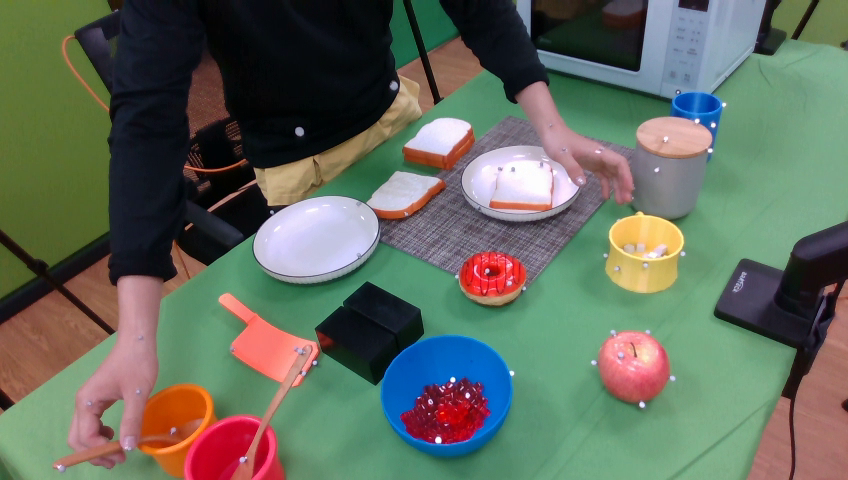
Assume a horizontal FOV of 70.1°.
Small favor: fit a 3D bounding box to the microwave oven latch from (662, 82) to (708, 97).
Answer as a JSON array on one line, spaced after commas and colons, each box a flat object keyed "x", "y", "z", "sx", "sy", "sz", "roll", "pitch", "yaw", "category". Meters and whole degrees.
[{"x": 0.518, "y": -0.298, "z": 1.203, "sx": 0.078, "sy": 0.029, "sz": 0.030, "roll": 28, "pitch": 53, "yaw": 35, "category": "microwave oven latch"}]

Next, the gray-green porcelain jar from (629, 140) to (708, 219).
[{"x": 0.383, "y": -0.104, "z": 0.958, "sx": 0.106, "sy": 0.127, "sz": 0.105, "roll": -4, "pitch": 41, "yaw": 4, "category": "gray-green porcelain jar"}]

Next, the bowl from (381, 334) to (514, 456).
[{"x": 0.029, "y": 0.192, "z": 0.701, "sx": 0.151, "sy": 0.077, "sz": 0.150, "roll": -4, "pitch": 40, "yaw": 4, "category": "bowl"}]

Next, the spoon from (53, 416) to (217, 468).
[{"x": -0.308, "y": 0.219, "z": 0.663, "sx": 0.041, "sy": 0.195, "sz": 0.021, "roll": 31, "pitch": 97, "yaw": 28, "category": "spoon"}]

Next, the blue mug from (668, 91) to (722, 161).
[{"x": 0.474, "y": -0.207, "z": 1.079, "sx": 0.082, "sy": 0.106, "sz": 0.116, "roll": 4, "pitch": 42, "yaw": 13, "category": "blue mug"}]

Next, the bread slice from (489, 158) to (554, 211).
[{"x": 0.172, "y": -0.099, "z": 1.047, "sx": 0.104, "sy": 0.019, "sz": 0.131, "roll": 4, "pitch": 43, "yaw": 12, "category": "bread slice"}]

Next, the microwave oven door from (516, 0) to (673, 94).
[{"x": 0.344, "y": -0.458, "z": 1.256, "sx": 0.353, "sy": 0.245, "sz": 0.039, "roll": 26, "pitch": 52, "yaw": 33, "category": "microwave oven door"}]

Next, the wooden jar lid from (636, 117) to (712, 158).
[{"x": 0.377, "y": -0.151, "z": 0.917, "sx": 0.108, "sy": 0.021, "sz": 0.108, "roll": -2, "pitch": 41, "yaw": 2, "category": "wooden jar lid"}]

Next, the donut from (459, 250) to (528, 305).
[{"x": 0.100, "y": 0.053, "z": 0.872, "sx": 0.099, "sy": 0.048, "sz": 0.098, "roll": -4, "pitch": 41, "yaw": 4, "category": "donut"}]

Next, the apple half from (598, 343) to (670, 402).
[{"x": 0.247, "y": 0.161, "z": 0.710, "sx": 0.081, "sy": 0.075, "sz": 0.053, "roll": 2, "pitch": 47, "yaw": 5, "category": "apple half"}]

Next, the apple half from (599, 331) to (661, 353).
[{"x": 0.249, "y": 0.134, "z": 0.738, "sx": 0.081, "sy": 0.081, "sz": 0.032, "roll": -1, "pitch": 46, "yaw": 7, "category": "apple half"}]

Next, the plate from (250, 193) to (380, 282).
[{"x": -0.174, "y": -0.001, "z": 0.985, "sx": 0.209, "sy": 0.038, "sz": 0.208, "roll": -3, "pitch": 40, "yaw": 3, "category": "plate"}]

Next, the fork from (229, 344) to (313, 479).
[{"x": -0.173, "y": 0.205, "z": 0.662, "sx": 0.028, "sy": 0.019, "sz": 0.207, "roll": 29, "pitch": 94, "yaw": 36, "category": "fork"}]

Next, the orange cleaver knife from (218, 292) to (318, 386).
[{"x": -0.235, "y": 0.136, "z": 0.850, "sx": 0.209, "sy": 0.012, "sz": 0.077, "roll": 25, "pitch": 56, "yaw": 30, "category": "orange cleaver knife"}]

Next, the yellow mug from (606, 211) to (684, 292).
[{"x": 0.318, "y": 0.008, "z": 0.883, "sx": 0.100, "sy": 0.064, "sz": 0.130, "roll": 0, "pitch": 41, "yaw": 8, "category": "yellow mug"}]

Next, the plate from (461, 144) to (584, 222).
[{"x": 0.167, "y": -0.095, "z": 1.040, "sx": 0.207, "sy": 0.039, "sz": 0.206, "roll": -4, "pitch": 41, "yaw": 4, "category": "plate"}]

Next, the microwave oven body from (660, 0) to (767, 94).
[{"x": 0.473, "y": -0.516, "z": 1.313, "sx": 0.438, "sy": 0.261, "sz": 0.327, "roll": 26, "pitch": 51, "yaw": 34, "category": "microwave oven body"}]

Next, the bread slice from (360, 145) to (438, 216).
[{"x": -0.053, "y": -0.103, "z": 1.046, "sx": 0.106, "sy": 0.018, "sz": 0.134, "roll": 19, "pitch": 67, "yaw": 22, "category": "bread slice"}]
